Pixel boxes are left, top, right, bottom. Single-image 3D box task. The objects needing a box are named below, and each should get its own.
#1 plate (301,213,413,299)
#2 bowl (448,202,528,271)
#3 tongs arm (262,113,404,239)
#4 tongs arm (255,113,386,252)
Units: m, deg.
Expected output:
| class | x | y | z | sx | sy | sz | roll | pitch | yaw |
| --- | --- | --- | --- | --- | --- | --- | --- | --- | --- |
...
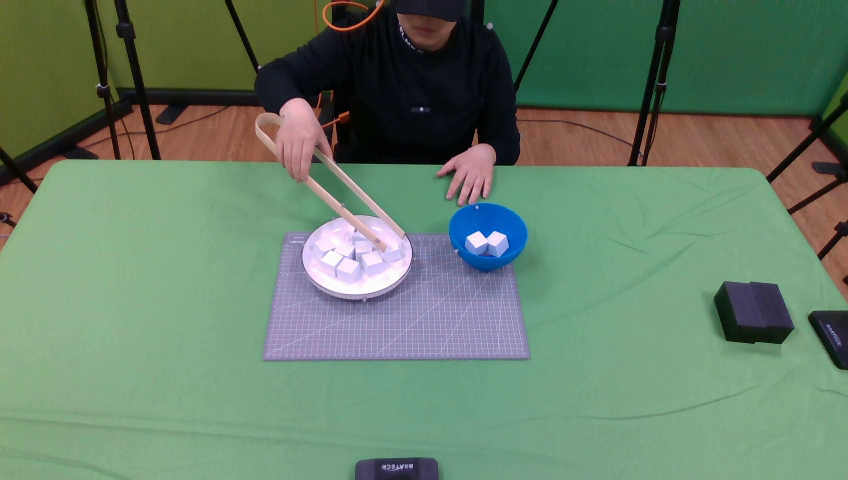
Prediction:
| class | x | y | z | sx | sy | sz | roll | pitch | yaw |
| --- | --- | --- | --- | --- | --- | --- | --- | --- | --- |
| plate | -0.124 | 0.033 | 1.143 | 0.208 | 0.039 | 0.206 | 2 | 46 | -2 |
| bowl | 0.118 | 0.006 | 1.160 | 0.151 | 0.077 | 0.150 | 2 | 46 | -2 |
| tongs arm | -0.181 | -0.131 | 1.190 | 0.386 | 0.028 | 0.028 | 42 | 60 | 14 |
| tongs arm | -0.202 | -0.115 | 1.174 | 0.383 | 0.026 | 0.050 | 40 | 57 | 13 |
